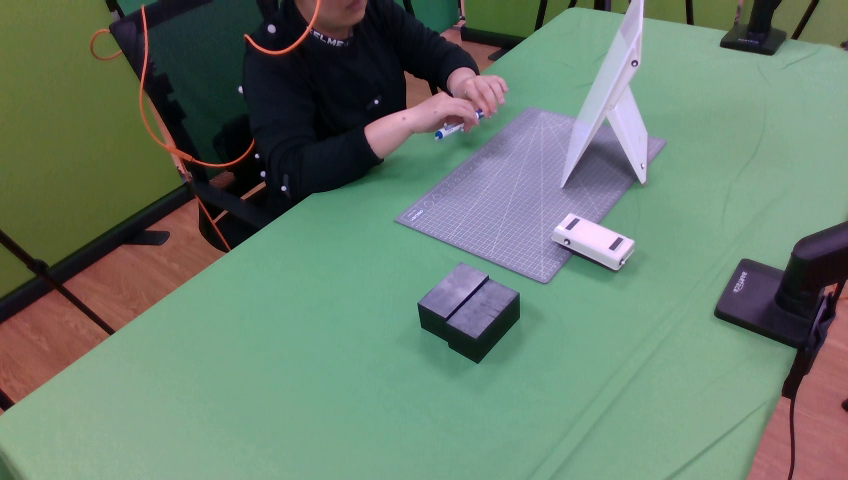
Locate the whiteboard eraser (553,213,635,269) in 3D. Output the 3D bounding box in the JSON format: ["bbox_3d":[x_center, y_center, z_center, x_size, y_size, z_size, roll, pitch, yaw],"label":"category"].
[{"bbox_3d":[0.257,0.003,0.918,0.112,0.042,0.056,27,49,30],"label":"whiteboard eraser"}]

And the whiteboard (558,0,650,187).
[{"bbox_3d":[0.362,-0.238,1.026,0.144,0.306,0.217,21,45,4],"label":"whiteboard"}]

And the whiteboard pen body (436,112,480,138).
[{"bbox_3d":[0.071,-0.219,1.131,0.017,0.017,0.141,26,42,33],"label":"whiteboard pen body"}]

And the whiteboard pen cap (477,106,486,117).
[{"bbox_3d":[0.111,-0.249,1.169,0.018,0.018,0.033,-6,22,2],"label":"whiteboard pen cap"}]
